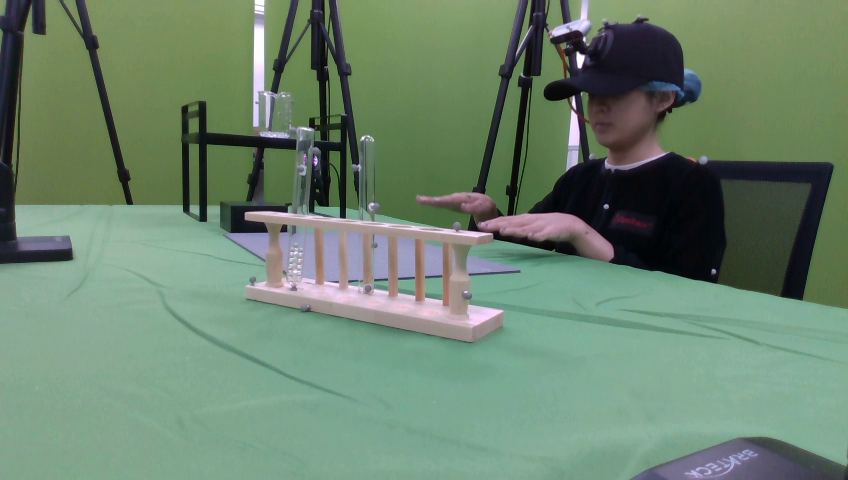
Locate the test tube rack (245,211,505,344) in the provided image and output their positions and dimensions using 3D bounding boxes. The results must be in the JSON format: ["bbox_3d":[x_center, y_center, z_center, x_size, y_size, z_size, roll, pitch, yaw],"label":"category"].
[{"bbox_3d":[-0.049,0.025,0.547,0.241,0.085,0.067,7,8,28],"label":"test tube rack"}]

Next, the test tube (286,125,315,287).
[{"bbox_3d":[-0.115,-0.030,0.560,0.017,0.150,0.017,6,8,-1],"label":"test tube"}]

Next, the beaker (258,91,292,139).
[{"bbox_3d":[-0.331,-0.276,1.343,0.074,0.100,0.083,0,8,-20],"label":"beaker"}]

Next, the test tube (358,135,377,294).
[{"bbox_3d":[-0.053,-0.022,0.565,0.017,0.150,0.017,2,6,0],"label":"test tube"}]
